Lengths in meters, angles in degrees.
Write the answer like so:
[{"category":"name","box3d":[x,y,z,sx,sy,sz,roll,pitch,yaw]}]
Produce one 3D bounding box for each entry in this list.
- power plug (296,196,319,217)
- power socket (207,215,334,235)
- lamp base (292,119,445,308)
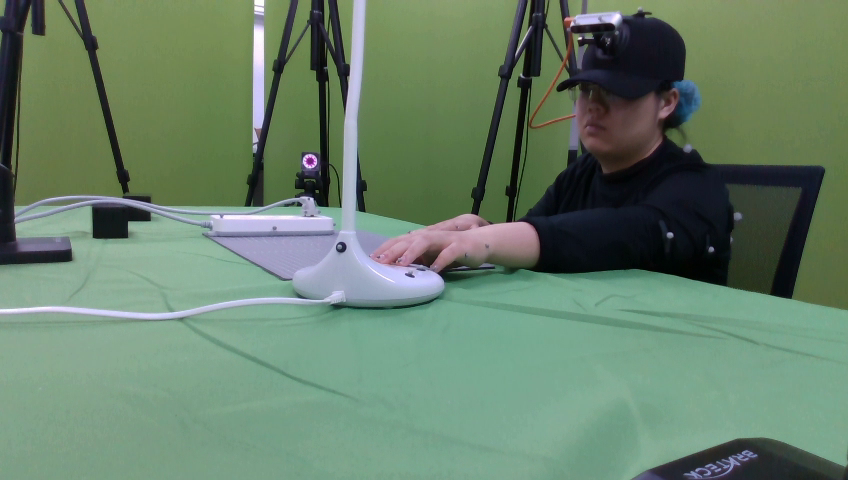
[{"category":"power plug","box3d":[-0.220,-0.056,1.142,0.035,0.052,0.072,0,6,-20]},{"category":"power socket","box3d":[-0.270,-0.028,1.082,0.228,0.032,0.072,-1,7,-30]},{"category":"lamp base","box3d":[-0.056,-0.030,0.616,0.160,0.180,0.179,3,10,8]}]
